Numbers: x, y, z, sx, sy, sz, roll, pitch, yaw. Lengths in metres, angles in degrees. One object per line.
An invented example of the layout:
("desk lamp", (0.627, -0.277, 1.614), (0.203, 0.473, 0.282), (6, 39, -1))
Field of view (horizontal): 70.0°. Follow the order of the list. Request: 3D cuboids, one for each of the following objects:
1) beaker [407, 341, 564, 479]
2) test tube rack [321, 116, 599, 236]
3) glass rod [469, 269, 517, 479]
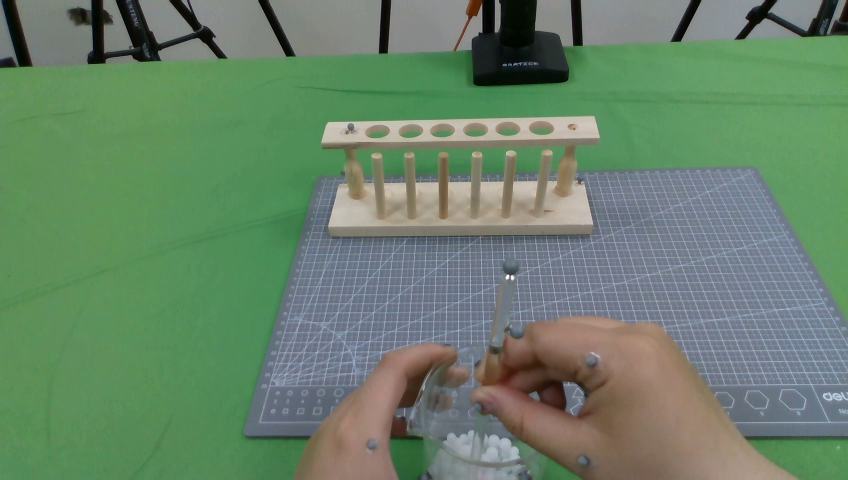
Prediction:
("beaker", (0.032, 0.120, 0.348), (0.084, 0.101, 0.073), (-12, 43, -13))
("test tube rack", (0.032, -0.058, 0.554), (0.242, 0.086, 0.066), (0, 44, 4))
("glass rod", (0.032, 0.084, 0.300), (0.008, 0.201, 0.008), (1, 45, 0))
